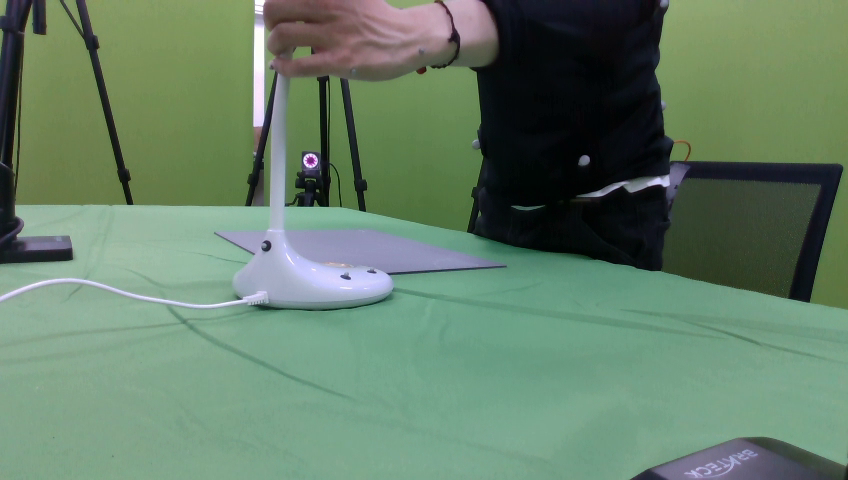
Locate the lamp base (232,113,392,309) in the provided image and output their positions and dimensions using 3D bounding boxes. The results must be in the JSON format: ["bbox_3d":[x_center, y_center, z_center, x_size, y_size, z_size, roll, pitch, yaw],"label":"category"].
[{"bbox_3d":[-0.113,-0.031,0.594,0.160,0.180,0.179,4,10,18],"label":"lamp base"}]
